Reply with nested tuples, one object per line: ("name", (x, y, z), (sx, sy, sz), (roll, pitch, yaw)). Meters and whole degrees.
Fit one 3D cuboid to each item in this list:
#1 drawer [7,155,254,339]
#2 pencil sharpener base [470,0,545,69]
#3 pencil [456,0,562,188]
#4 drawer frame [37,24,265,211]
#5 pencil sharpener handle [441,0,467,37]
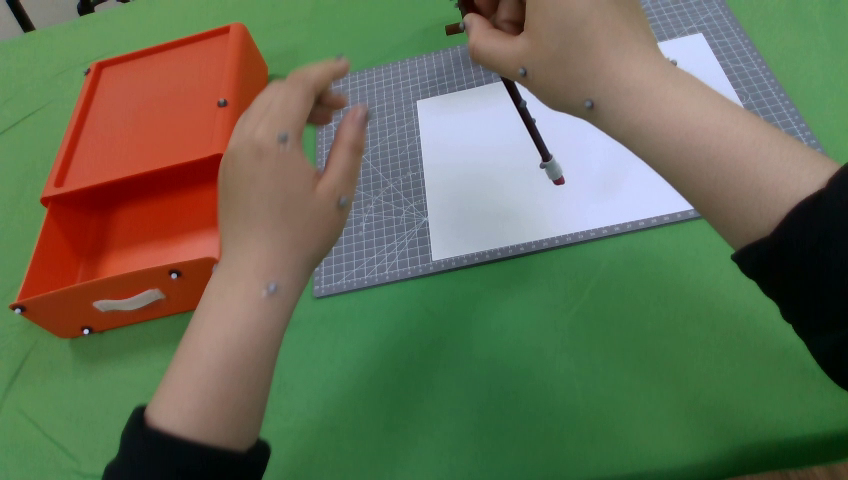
("drawer", (-0.270, -0.024, 0.594), (0.194, 0.074, 0.209), (-14, 53, 7))
("pencil sharpener base", (0.079, -0.239, 0.624), (0.076, 0.108, 0.061), (-11, 54, 10))
("pencil", (0.057, -0.098, 0.403), (0.012, 0.196, 0.012), (-18, 47, 21))
("drawer frame", (-0.284, -0.119, 0.662), (0.201, 0.083, 0.211), (-13, 53, 7))
("pencil sharpener handle", (0.027, -0.238, 0.623), (0.030, 0.068, 0.035), (-11, 59, 10))
